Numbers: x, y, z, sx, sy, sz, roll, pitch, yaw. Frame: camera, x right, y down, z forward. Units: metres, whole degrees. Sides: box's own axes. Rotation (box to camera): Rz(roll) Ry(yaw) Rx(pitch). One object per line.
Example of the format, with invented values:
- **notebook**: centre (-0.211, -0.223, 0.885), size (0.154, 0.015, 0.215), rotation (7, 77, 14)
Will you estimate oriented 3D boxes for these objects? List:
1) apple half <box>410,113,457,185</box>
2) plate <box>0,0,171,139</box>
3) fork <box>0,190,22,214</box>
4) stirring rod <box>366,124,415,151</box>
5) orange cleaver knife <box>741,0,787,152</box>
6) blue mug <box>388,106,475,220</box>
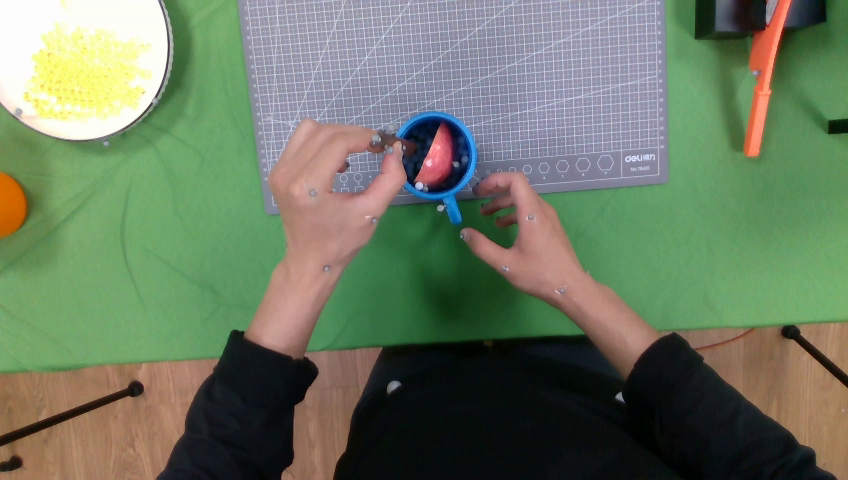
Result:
- **apple half**: centre (0.017, -0.088, 0.610), size (0.033, 0.081, 0.081), rotation (24, 99, 7)
- **plate**: centre (-0.366, -0.212, 0.638), size (0.209, 0.038, 0.209), rotation (0, 100, 1)
- **fork**: centre (-0.529, -0.047, 0.611), size (0.209, 0.018, 0.028), rotation (5, 100, -44)
- **stirring rod**: centre (-0.024, -0.082, 0.494), size (0.006, 0.176, 0.014), rotation (38, 99, 2)
- **orange cleaver knife**: centre (0.342, -0.194, 0.613), size (0.012, 0.076, 0.213), rotation (-1, 126, 10)
- **blue mug**: centre (0.013, -0.076, 0.621), size (0.082, 0.105, 0.117), rotation (-19, 99, 4)
